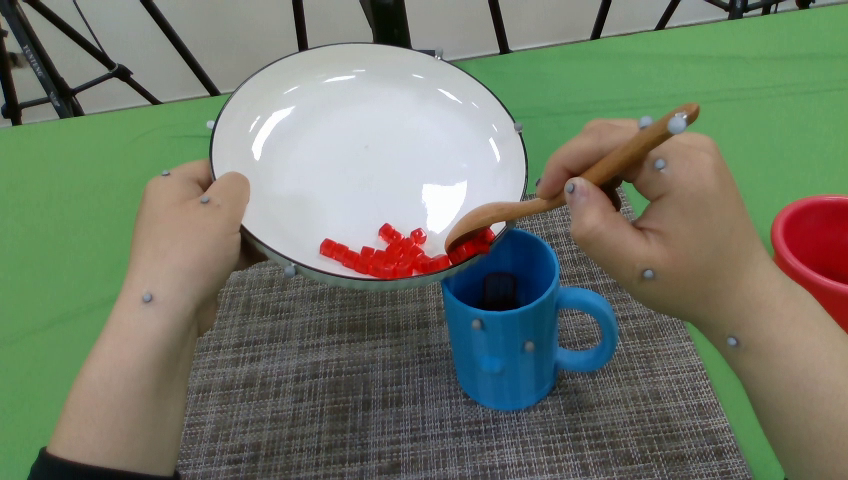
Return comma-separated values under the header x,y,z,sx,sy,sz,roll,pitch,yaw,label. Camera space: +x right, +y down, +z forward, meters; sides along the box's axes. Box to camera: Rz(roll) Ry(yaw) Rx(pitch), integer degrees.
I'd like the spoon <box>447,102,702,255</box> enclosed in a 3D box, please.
x,y,z,sx,sy,sz,roll,pitch,yaw,label
0.062,-0.022,0.301,0.042,0.193,0.021,-25,90,-28,spoon

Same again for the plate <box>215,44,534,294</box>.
x,y,z,sx,sy,sz,roll,pitch,yaw,label
-0.031,-0.051,0.412,0.208,0.039,0.205,4,56,-6,plate

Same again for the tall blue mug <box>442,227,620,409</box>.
x,y,z,sx,sy,sz,roll,pitch,yaw,label
0.070,0.052,0.417,0.107,0.109,0.077,-12,43,-1,tall blue mug
